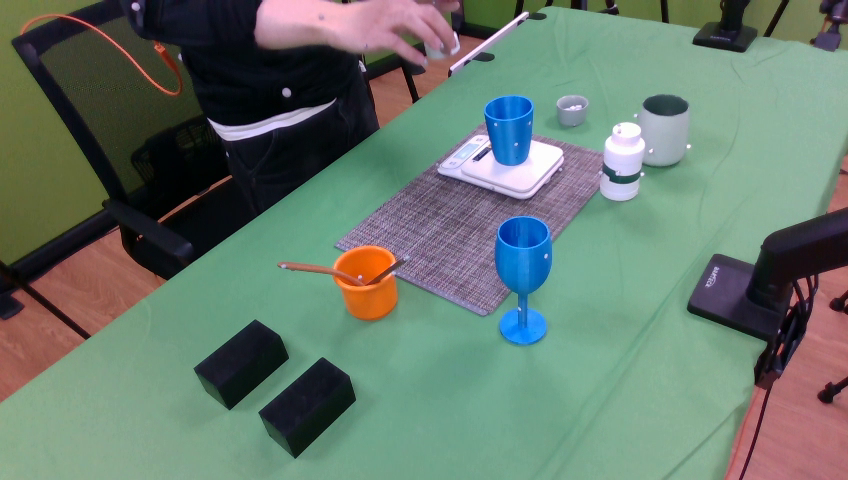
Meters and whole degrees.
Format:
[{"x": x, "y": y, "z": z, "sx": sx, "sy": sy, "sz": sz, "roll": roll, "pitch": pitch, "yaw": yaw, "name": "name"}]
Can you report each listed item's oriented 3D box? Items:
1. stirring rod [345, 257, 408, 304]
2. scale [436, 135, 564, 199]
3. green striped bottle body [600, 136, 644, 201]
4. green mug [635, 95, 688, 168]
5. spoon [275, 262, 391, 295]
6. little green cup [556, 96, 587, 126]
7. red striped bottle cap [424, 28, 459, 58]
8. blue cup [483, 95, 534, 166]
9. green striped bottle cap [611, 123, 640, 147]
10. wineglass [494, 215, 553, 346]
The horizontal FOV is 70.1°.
[{"x": -0.067, "y": 0.057, "z": 0.815, "sx": 0.014, "sy": 0.175, "sz": 0.006, "roll": -24, "pitch": 82, "yaw": -38, "name": "stirring rod"}, {"x": 0.137, "y": -0.142, "z": 1.101, "sx": 0.199, "sy": 0.032, "sz": 0.149, "roll": 22, "pitch": 48, "yaw": 30, "name": "scale"}, {"x": 0.326, "y": -0.128, "z": 0.997, "sx": 0.063, "sy": 0.120, "sz": 0.063, "roll": -4, "pitch": 41, "yaw": 4, "name": "green striped bottle body"}, {"x": 0.421, "y": -0.201, "z": 1.081, "sx": 0.092, "sy": 0.105, "sz": 0.125, "roll": 5, "pitch": 42, "yaw": 15, "name": "green mug"}, {"x": -0.120, "y": 0.050, "z": 0.830, "sx": 0.041, "sy": 0.195, "sz": 0.021, "roll": 33, "pitch": 98, "yaw": 45, "name": "spoon"}, {"x": 0.295, "y": -0.258, "z": 1.214, "sx": 0.061, "sy": 0.039, "sz": 0.061, "roll": -4, "pitch": 42, "yaw": 4, "name": "little green cup"}, {"x": 0.022, "y": -0.253, "z": 0.774, "sx": 0.044, "sy": 0.018, "sz": 0.044, "roll": -11, "pitch": 44, "yaw": 11, "name": "red striped bottle cap"}, {"x": 0.150, "y": -0.187, "z": 1.051, "sx": 0.092, "sy": 0.101, "sz": 0.092, "roll": -6, "pitch": 41, "yaw": 6, "name": "blue cup"}, {"x": 0.322, "y": -0.168, "z": 0.963, "sx": 0.044, "sy": 0.020, "sz": 0.044, "roll": -3, "pitch": 42, "yaw": 3, "name": "green striped bottle cap"}, {"x": 0.127, "y": 0.055, "z": 0.770, "sx": 0.074, "sy": 0.173, "sz": 0.073, "roll": -4, "pitch": 40, "yaw": 4, "name": "wineglass"}]
